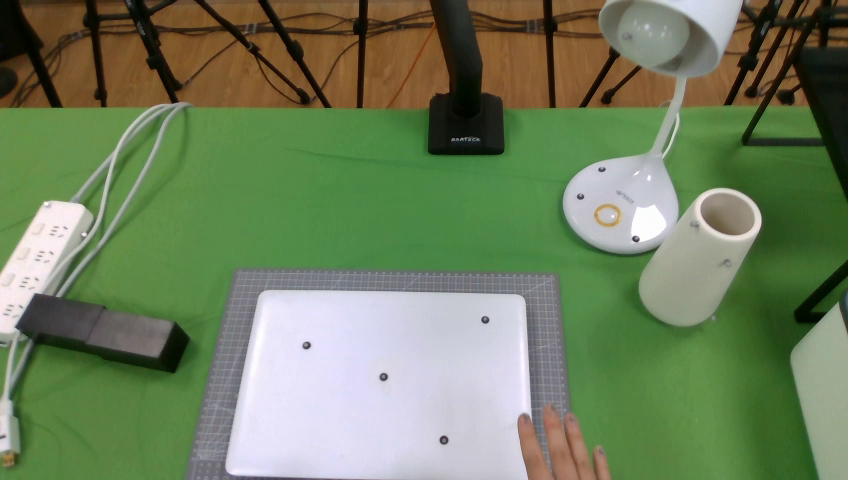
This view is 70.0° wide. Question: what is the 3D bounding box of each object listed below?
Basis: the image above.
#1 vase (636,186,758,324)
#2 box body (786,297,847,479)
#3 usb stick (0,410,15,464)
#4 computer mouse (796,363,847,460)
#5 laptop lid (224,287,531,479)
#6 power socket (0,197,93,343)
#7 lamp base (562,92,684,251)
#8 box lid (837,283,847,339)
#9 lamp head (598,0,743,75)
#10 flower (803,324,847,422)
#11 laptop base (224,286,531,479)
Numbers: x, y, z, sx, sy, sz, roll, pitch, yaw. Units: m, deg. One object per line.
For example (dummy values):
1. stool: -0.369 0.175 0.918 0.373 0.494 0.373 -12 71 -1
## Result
1. vase: 0.319 0.021 0.720 0.098 0.202 0.097 -2 57 3
2. box body: 0.549 0.239 0.599 0.254 0.162 0.361 2 59 4
3. usb stick: -0.502 0.234 0.718 0.021 0.027 0.058 -14 66 -16
4. computer mouse: 0.481 0.193 0.695 0.063 0.041 0.116 -5 51 5
5. laptop lid: -0.051 0.165 0.737 0.356 0.013 0.239 2 61 4
6. power socket: -0.540 0.033 0.840 0.072 0.033 0.225 8 59 6
7. lamp base: 0.283 -0.103 0.808 0.159 0.182 0.179 31 62 20
8. box lid: 0.546 0.198 0.536 0.263 0.015 0.368 2 58 3
9. lamp head: 0.229 -0.223 0.532 0.112 0.113 0.122 28 81 18
10. flower: 0.473 0.264 0.636 0.044 0.038 0.359 17 59 -41
11. laptop base: -0.051 0.169 0.748 0.354 0.023 0.233 1 62 2
